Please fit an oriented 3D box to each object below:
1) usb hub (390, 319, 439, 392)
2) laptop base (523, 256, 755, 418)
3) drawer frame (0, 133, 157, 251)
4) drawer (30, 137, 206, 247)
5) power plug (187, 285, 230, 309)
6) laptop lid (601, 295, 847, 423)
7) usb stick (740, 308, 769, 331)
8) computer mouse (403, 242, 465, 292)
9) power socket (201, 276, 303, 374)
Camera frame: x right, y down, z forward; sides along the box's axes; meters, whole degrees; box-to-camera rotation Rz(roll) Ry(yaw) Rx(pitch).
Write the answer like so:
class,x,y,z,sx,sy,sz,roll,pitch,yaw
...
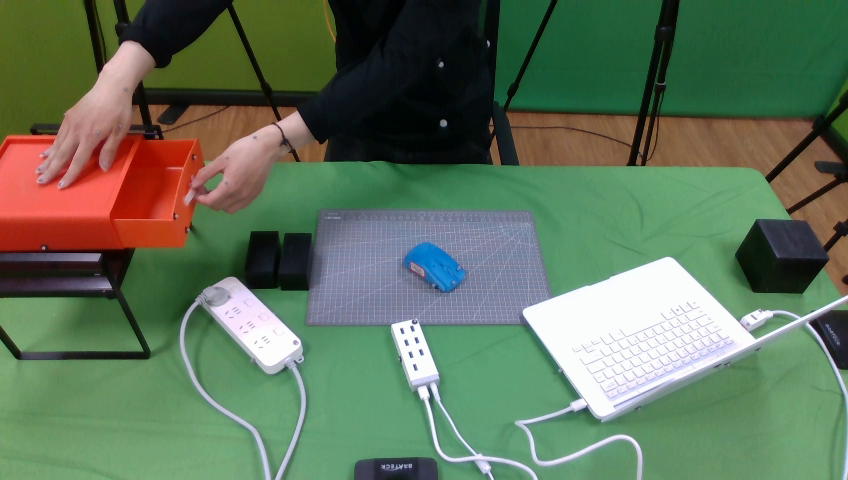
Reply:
class,x,y,z,sx,sy,sz,roll,pitch,yaw
usb hub,-0.016,0.190,1.013,0.049,0.025,0.124,-11,48,-15
laptop base,0.380,0.159,1.077,0.355,0.023,0.234,-17,47,-19
drawer frame,-0.554,-0.077,0.940,0.214,0.083,0.200,-2,47,-5
drawer,-0.468,-0.078,0.950,0.212,0.073,0.193,-1,47,-5
power plug,-0.370,0.103,1.039,0.072,0.053,0.035,-25,53,-23
laptop lid,0.449,0.180,0.905,0.357,0.242,0.013,-17,64,-20
usb stick,0.587,0.145,1.088,0.059,0.027,0.021,-21,48,-17
computer mouse,0.020,0.047,1.141,0.116,0.041,0.063,35,52,22
power socket,-0.297,0.141,1.034,0.225,0.033,0.072,38,55,27
